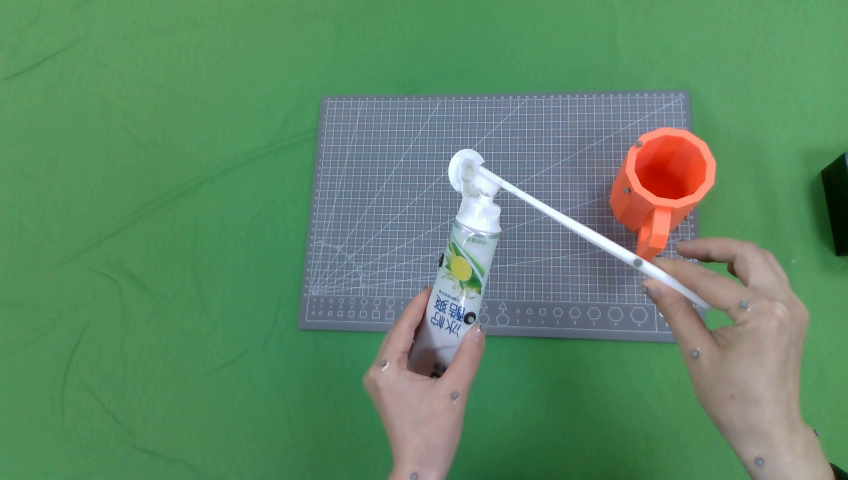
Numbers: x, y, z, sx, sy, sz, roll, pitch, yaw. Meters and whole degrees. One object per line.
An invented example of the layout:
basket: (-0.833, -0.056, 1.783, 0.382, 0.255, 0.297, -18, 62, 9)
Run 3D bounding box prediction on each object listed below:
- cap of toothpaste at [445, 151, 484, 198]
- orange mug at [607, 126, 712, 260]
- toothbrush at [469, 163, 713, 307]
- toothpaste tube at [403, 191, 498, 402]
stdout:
cap of toothpaste: (0.032, -0.048, 0.448, 0.037, 0.011, 0.037, -3, 95, -33)
orange mug: (0.244, -0.045, 0.642, 0.083, 0.101, 0.125, 9, 71, 10)
toothbrush: (0.107, -0.004, 0.410, 0.181, 0.014, 0.016, 31, 90, 16)
toothpaste tube: (0.022, 0.041, 0.459, 0.054, 0.034, 0.165, 24, 110, 31)
